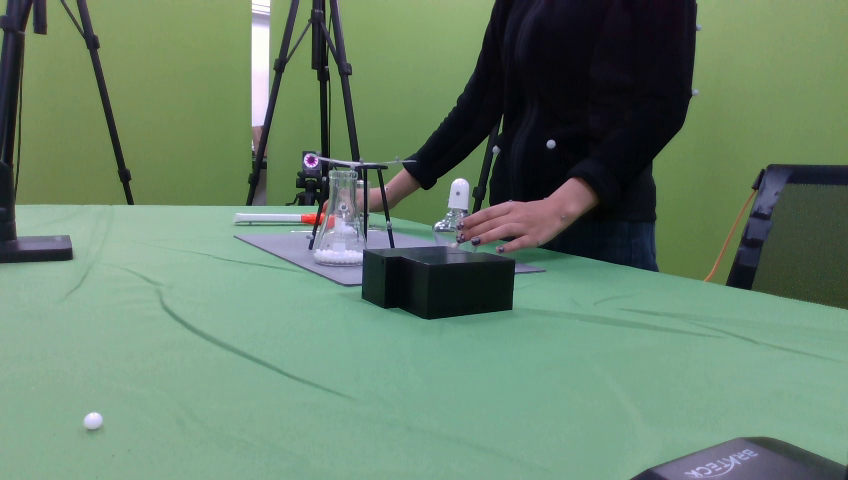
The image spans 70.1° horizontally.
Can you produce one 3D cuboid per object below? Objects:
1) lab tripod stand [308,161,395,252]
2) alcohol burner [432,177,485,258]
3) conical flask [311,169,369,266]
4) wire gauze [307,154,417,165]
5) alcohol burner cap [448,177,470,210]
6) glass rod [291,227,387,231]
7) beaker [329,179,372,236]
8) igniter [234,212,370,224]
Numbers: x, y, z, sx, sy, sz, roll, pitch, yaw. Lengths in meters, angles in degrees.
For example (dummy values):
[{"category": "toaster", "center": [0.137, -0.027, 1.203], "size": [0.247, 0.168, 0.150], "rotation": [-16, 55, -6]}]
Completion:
[{"category": "lab tripod stand", "center": [-0.098, -0.053, 0.918], "size": [0.148, 0.131, 0.148], "rotation": [4, 7, 0]}, {"category": "alcohol burner", "center": [0.052, -0.033, 0.894], "size": [0.078, 0.119, 0.078], "rotation": [3, 10, 0]}, {"category": "conical flask", "center": [-0.107, -0.031, 0.786], "size": [0.075, 0.122, 0.075], "rotation": [2, 8, 0]}, {"category": "wire gauze", "center": [-0.094, -0.120, 0.913], "size": [0.122, 0.011, 0.124], "rotation": [-5, 11, -45]}, {"category": "alcohol burner cap", "center": [0.053, -0.069, 0.889], "size": [0.034, 0.048, 0.034], "rotation": [4, 2, 0]}, {"category": "glass rod", "center": [-0.161, -0.023, 1.177], "size": [0.201, 0.008, 0.008], "rotation": [-1, 8, -29]}, {"category": "beaker", "center": [-0.137, -0.061, 1.101], "size": [0.084, 0.100, 0.074], "rotation": [5, 7, 20]}, {"category": "igniter", "center": [-0.247, -0.046, 1.253], "size": [0.278, 0.025, 0.057], "rotation": [-1, -3, -27]}]
